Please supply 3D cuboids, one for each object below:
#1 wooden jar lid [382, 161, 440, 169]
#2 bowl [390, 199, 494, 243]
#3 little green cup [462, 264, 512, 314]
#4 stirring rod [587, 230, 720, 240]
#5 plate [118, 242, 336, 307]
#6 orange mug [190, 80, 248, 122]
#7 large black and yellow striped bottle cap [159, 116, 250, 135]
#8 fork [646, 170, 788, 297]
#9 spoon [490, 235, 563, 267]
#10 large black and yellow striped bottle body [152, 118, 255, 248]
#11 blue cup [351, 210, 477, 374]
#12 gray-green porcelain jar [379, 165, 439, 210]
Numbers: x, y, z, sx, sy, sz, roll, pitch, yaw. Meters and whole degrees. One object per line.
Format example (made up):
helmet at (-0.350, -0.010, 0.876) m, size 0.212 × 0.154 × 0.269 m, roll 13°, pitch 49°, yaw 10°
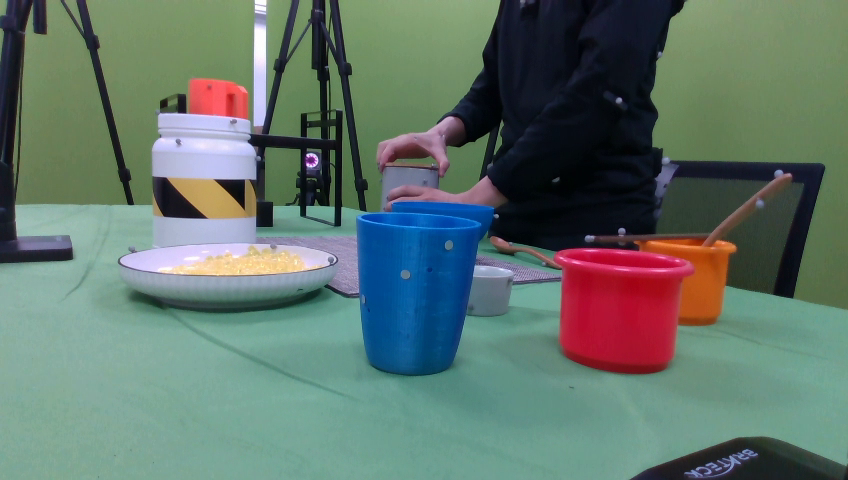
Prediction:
wooden jar lid at (-0.025, -0.135, 1.122) m, size 0.108 × 0.020 × 0.108 m, roll 3°, pitch 5°, yaw 0°
bowl at (0.024, -0.015, 0.872) m, size 0.151 × 0.077 × 0.151 m, roll 3°, pitch 7°, yaw 0°
little green cup at (0.053, 0.047, 0.580) m, size 0.061 × 0.038 × 0.061 m, roll 3°, pitch 8°, yaw 0°
stirring rod at (0.226, -0.006, 0.587) m, size 0.177 × 0.006 × 0.014 m, roll -2°, pitch 8°, yaw -29°
plate at (-0.194, 0.033, 0.615) m, size 0.209 × 0.038 × 0.209 m, roll 2°, pitch 7°, yaw 0°
orange mug at (-0.394, -0.257, 1.173) m, size 0.126 × 0.100 × 0.084 m, roll 1°, pitch 6°, yaw 25°
large black and yellow striped bottle cap at (-0.292, -0.153, 0.810) m, size 0.115 × 0.019 × 0.115 m, roll 3°, pitch 9°, yaw 0°
fork at (0.256, 0.004, 0.543) m, size 0.028 × 0.018 × 0.207 m, roll 3°, pitch -37°, yaw -9°
spoon at (0.154, 0.015, 0.926) m, size 0.042 × 0.021 × 0.193 m, roll 19°, pitch 0°, yaw -23°
large black and yellow striped bottle body at (-0.296, -0.070, 0.820) m, size 0.131 × 0.184 × 0.130 m, roll 2°, pitch 7°, yaw 0°
blue cup at (-0.010, 0.034, 0.414) m, size 0.093 × 0.100 × 0.092 m, roll 3°, pitch 9°, yaw 0°
gray-green porcelain jar at (-0.030, -0.073, 1.125) m, size 0.106 × 0.126 × 0.106 m, roll 5°, pitch 4°, yaw 0°
